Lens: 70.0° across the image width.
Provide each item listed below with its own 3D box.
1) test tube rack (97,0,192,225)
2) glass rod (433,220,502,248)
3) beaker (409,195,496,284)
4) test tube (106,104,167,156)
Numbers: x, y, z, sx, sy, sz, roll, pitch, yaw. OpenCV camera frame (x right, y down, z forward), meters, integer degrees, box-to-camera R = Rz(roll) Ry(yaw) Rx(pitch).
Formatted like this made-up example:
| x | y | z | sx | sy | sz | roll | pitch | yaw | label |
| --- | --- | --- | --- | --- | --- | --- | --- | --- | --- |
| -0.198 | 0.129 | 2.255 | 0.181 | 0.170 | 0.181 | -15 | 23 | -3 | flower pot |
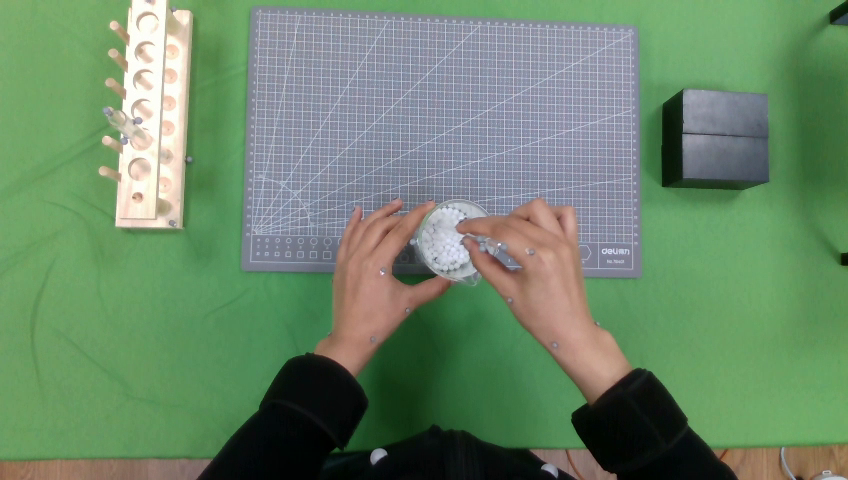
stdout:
| x | y | z | sx | sy | sz | roll | pitch | yaw | label |
| --- | --- | --- | --- | --- | --- | --- | --- | --- | --- |
| -0.291 | -0.141 | 0.626 | 0.067 | 0.085 | 0.241 | 1 | 85 | -5 | test tube rack |
| 0.033 | -0.008 | 0.535 | 0.008 | 0.198 | 0.008 | -2 | 97 | -13 | glass rod |
| 0.025 | 0.000 | 0.594 | 0.074 | 0.100 | 0.084 | -21 | 93 | -6 | beaker |
| -0.268 | -0.100 | 0.574 | 0.017 | 0.150 | 0.017 | 1 | 86 | -10 | test tube |
